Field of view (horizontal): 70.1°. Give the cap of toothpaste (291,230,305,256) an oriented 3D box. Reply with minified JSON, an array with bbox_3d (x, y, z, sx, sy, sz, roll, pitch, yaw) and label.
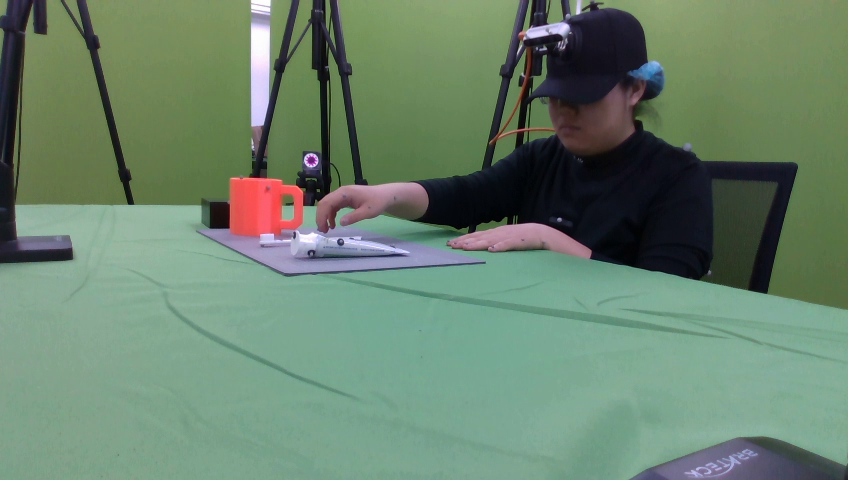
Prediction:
[{"bbox_3d":[-0.169,0.005,0.812,0.011,0.037,0.037,6,4,-30],"label":"cap of toothpaste"}]

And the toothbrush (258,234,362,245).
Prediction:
[{"bbox_3d":[-0.175,-0.002,0.958,0.183,0.016,0.014,-1,-4,-39],"label":"toothbrush"}]

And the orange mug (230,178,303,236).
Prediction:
[{"bbox_3d":[-0.276,-0.060,1.058,0.126,0.101,0.083,-2,8,-5],"label":"orange mug"}]

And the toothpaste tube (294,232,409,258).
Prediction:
[{"bbox_3d":[-0.103,0.010,0.853,0.166,0.034,0.055,3,11,-34],"label":"toothpaste tube"}]
